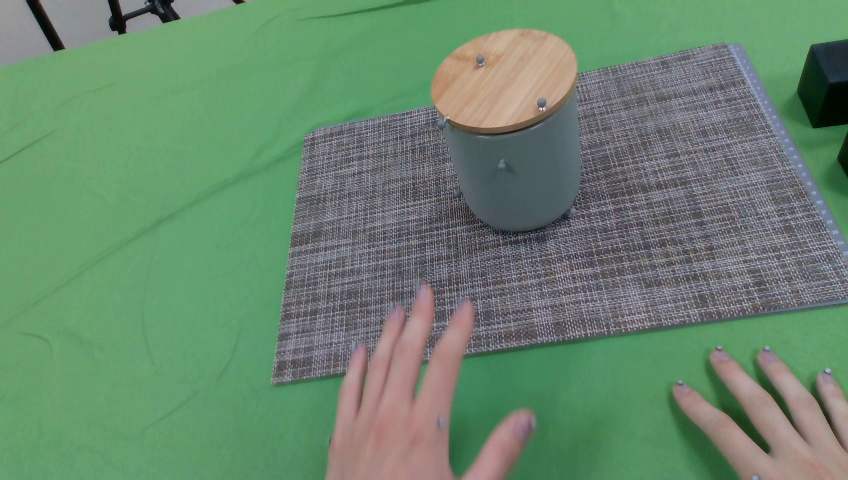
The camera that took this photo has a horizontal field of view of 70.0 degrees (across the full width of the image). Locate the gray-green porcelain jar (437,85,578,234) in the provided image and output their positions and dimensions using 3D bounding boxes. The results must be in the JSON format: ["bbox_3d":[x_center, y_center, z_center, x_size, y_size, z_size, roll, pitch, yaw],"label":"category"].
[{"bbox_3d":[0.073,-0.075,0.502,0.105,0.128,0.105,-8,52,11],"label":"gray-green porcelain jar"}]

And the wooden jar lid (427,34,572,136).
[{"bbox_3d":[0.056,-0.113,0.453,0.108,0.021,0.107,-8,54,11],"label":"wooden jar lid"}]
